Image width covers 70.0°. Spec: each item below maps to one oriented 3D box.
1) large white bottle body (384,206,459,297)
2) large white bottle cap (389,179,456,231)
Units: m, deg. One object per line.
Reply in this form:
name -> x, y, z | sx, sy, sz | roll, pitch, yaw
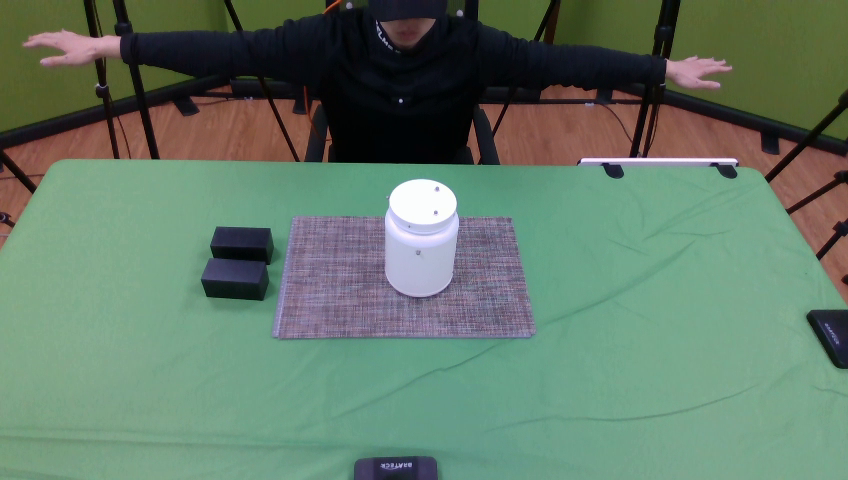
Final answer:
large white bottle body -> -0.006, -0.002, 1.082 | 0.131, 0.185, 0.130 | 2, 46, -2
large white bottle cap -> -0.003, -0.061, 1.020 | 0.115, 0.018, 0.114 | 2, 46, -2
